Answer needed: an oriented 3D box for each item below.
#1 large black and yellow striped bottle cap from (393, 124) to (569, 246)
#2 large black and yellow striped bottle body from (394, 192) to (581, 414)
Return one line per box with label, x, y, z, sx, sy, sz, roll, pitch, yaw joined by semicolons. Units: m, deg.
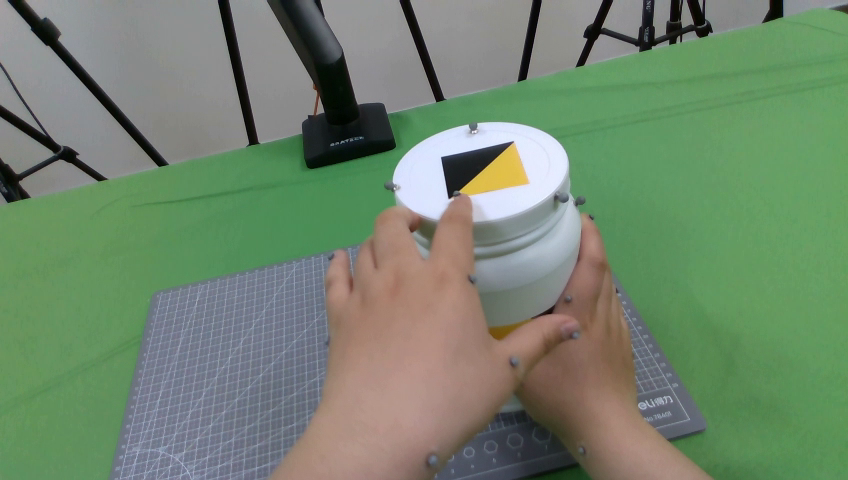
large black and yellow striped bottle cap;0.036;-0.040;0.396;0.115;0.019;0.114;-6;41;6
large black and yellow striped bottle body;0.051;0.026;0.451;0.130;0.186;0.129;-7;40;6
